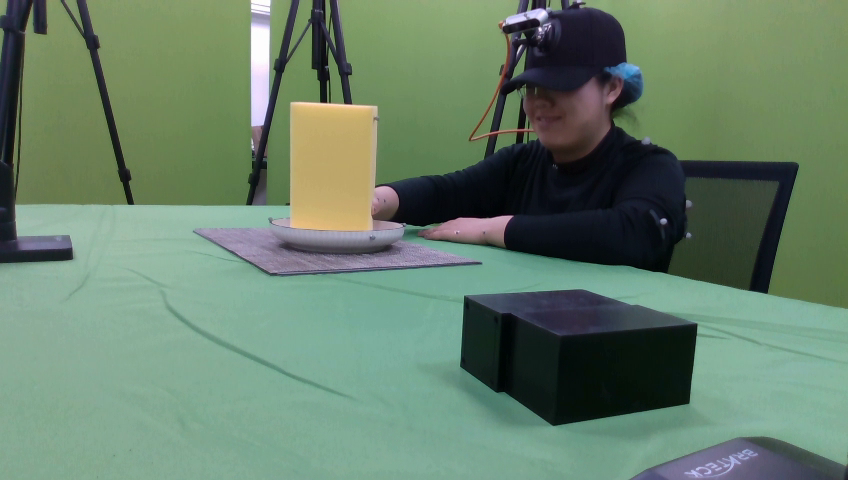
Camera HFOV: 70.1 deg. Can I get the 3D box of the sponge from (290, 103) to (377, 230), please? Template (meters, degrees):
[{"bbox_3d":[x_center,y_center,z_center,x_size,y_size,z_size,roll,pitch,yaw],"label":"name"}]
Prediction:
[{"bbox_3d":[-0.135,-0.098,0.904,0.118,0.206,0.061,4,14,1],"label":"sponge"}]

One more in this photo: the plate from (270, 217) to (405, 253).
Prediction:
[{"bbox_3d":[-0.134,-0.009,0.946,0.208,0.039,0.207,3,7,0],"label":"plate"}]
